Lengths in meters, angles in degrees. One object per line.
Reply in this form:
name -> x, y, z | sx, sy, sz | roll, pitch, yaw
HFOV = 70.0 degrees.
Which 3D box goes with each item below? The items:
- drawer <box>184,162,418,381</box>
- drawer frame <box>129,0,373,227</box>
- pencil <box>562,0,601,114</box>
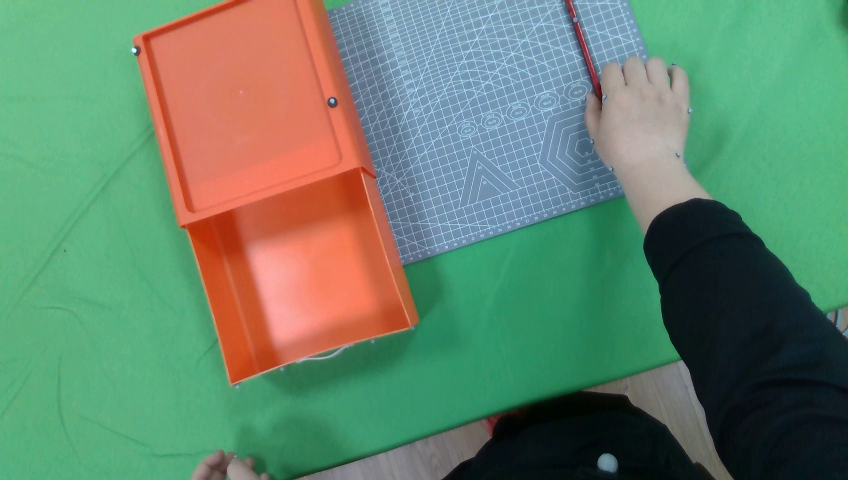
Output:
drawer -> -0.131, 0.017, 0.631 | 0.194, 0.073, 0.211 | -18, 86, 8
drawer frame -> -0.181, -0.139, 0.642 | 0.201, 0.083, 0.213 | -18, 84, 7
pencil -> 0.157, -0.224, 0.637 | 0.012, 0.012, 0.193 | -17, 87, 7
